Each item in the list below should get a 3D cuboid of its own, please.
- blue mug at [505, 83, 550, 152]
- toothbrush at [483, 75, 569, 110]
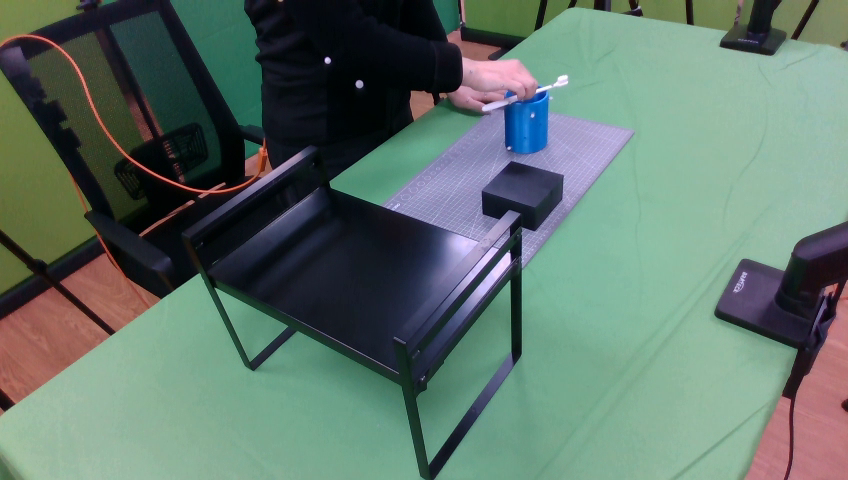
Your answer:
[{"bbox_3d":[0.204,-0.243,1.160,0.082,0.106,0.116,14,45,24],"label":"blue mug"},{"bbox_3d":[0.188,-0.268,1.102,0.182,0.017,0.014,-22,62,-16],"label":"toothbrush"}]
